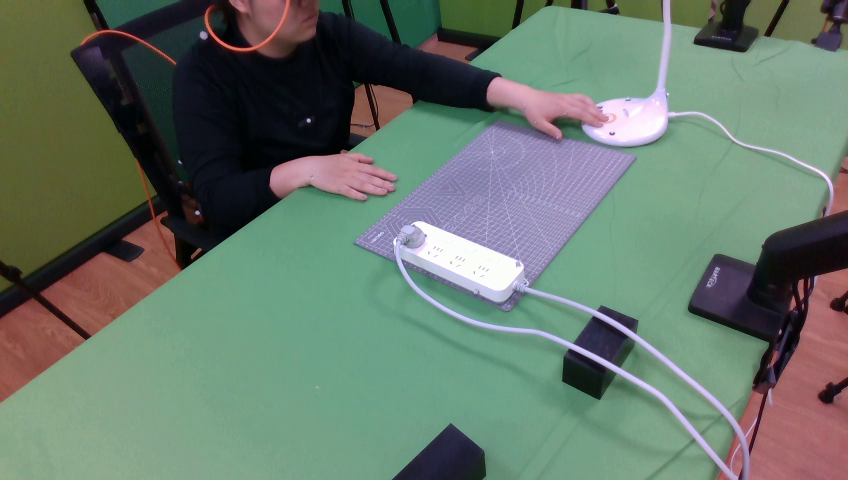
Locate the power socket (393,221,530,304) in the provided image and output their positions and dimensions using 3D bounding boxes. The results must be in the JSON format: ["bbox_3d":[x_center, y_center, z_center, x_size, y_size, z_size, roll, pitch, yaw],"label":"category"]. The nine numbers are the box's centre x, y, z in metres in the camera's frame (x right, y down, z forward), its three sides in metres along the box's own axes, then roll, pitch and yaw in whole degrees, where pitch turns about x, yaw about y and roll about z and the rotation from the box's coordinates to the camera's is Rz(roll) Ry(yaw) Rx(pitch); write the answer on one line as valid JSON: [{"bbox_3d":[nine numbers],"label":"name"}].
[{"bbox_3d":[0.049,0.030,0.914,0.225,0.033,0.072,24,51,31],"label":"power socket"}]

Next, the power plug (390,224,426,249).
[{"bbox_3d":[-0.030,0.004,0.920,0.073,0.053,0.035,-33,47,-26],"label":"power plug"}]

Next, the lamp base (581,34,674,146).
[{"bbox_3d":[0.392,-0.291,1.129,0.180,0.181,0.159,-11,41,-8],"label":"lamp base"}]
